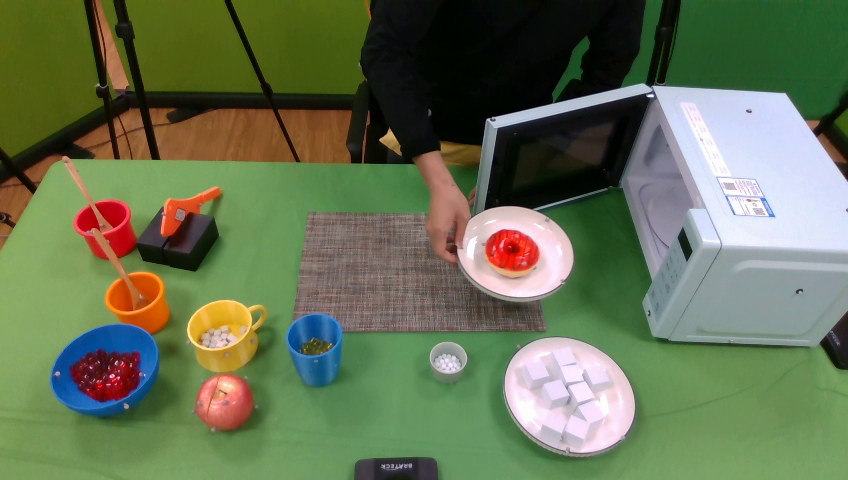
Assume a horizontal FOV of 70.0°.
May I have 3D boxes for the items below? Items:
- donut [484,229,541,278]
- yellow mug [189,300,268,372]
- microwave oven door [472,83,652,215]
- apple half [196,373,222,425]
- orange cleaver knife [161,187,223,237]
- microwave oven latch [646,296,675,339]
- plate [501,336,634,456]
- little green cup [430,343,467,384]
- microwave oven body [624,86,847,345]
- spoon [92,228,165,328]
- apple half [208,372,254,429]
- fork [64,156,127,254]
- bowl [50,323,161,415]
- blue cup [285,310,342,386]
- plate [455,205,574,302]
[{"bbox_3d":[0.153,0.022,1.056,0.099,0.048,0.098,3,49,-3],"label":"donut"},{"bbox_3d":[-0.315,0.149,1.001,0.131,0.064,0.099,-33,55,-31],"label":"yellow mug"},{"bbox_3d":[0.272,-0.171,1.205,0.356,0.245,0.039,-16,49,-18],"label":"microwave oven door"},{"bbox_3d":[-0.322,0.240,0.907,0.033,0.081,0.081,7,46,0],"label":"apple half"},{"bbox_3d":[-0.448,-0.058,1.181,0.012,0.077,0.211,13,17,6],"label":"orange cleaver knife"},{"bbox_3d":[0.412,0.134,1.061,0.030,0.029,0.078,4,45,1],"label":"microwave oven latch"},{"bbox_3d":[0.225,0.249,0.963,0.208,0.039,0.206,2,46,-2],"label":"plate"},{"bbox_3d":[0.038,0.203,0.994,0.061,0.039,0.061,2,46,-2],"label":"little green cup"},{"bbox_3d":[0.567,-0.053,1.118,0.326,0.261,0.439,2,45,-1],"label":"microwave oven body"},{"bbox_3d":[-0.496,0.063,1.014,0.041,0.194,0.021,-34,12,-31],"label":"spoon"},{"bbox_3d":[-0.283,0.244,0.908,0.053,0.075,0.080,7,43,-2],"label":"apple half"},{"bbox_3d":[-0.614,-0.064,1.130,0.028,0.018,0.207,-29,97,-16],"label":"fork"},{"bbox_3d":[-0.472,0.209,0.924,0.151,0.077,0.150,3,45,-2],"label":"bowl"},{"bbox_3d":[-0.170,0.179,0.958,0.093,0.101,0.092,2,44,-1],"label":"blue cup"},{"bbox_3d":[0.158,0.027,1.067,0.209,0.038,0.208,1,51,-1],"label":"plate"}]
